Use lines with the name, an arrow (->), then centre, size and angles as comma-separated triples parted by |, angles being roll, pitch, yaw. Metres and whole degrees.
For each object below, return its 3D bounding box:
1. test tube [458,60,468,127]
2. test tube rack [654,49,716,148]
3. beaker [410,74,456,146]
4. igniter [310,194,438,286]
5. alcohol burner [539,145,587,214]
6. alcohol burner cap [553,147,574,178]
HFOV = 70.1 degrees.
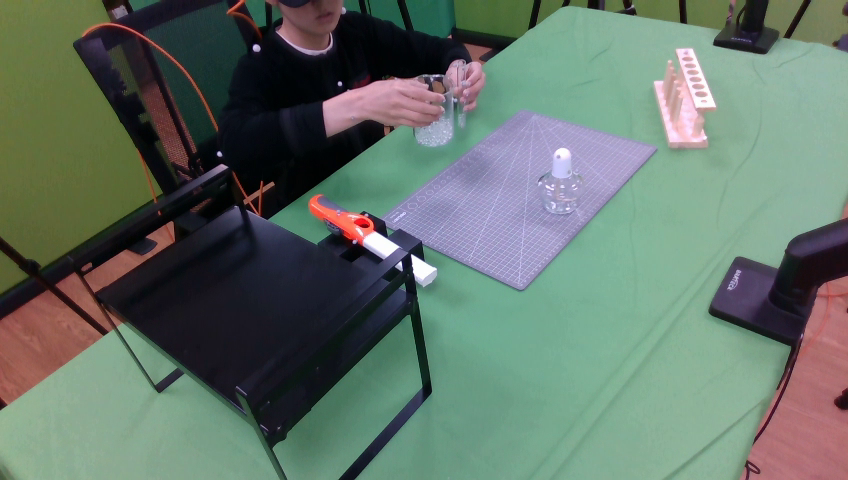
test tube -> 0.071, -0.263, 1.100 | 0.017, 0.151, 0.017 | -2, 54, 3
test tube rack -> 0.502, -0.281, 1.176 | 0.066, 0.085, 0.241 | 2, 41, 11
beaker -> 0.016, -0.216, 1.009 | 0.074, 0.100, 0.083 | -2, 43, 0
igniter -> -0.087, -0.007, 0.921 | 0.274, 0.025, 0.057 | 31, 50, 34
alcohol burner -> 0.226, -0.102, 0.986 | 0.078, 0.119, 0.077 | -6, 41, 6
alcohol burner cap -> 0.224, -0.125, 0.965 | 0.034, 0.048, 0.033 | -5, 44, 5
